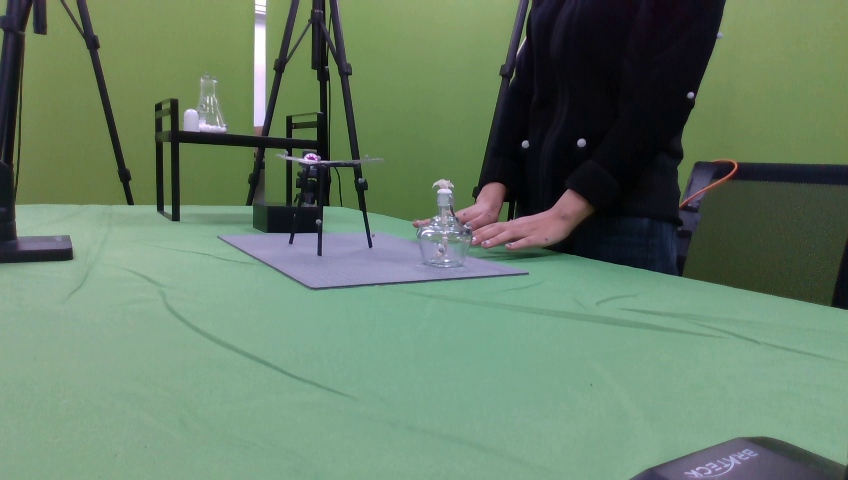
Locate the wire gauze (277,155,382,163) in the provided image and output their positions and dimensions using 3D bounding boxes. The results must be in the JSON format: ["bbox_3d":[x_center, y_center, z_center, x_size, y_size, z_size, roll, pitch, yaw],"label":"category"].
[{"bbox_3d":[-0.142,-0.118,0.899,0.122,0.011,0.124,-3,8,-36],"label":"wire gauze"}]

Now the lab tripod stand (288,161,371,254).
[{"bbox_3d":[-0.148,-0.052,0.908,0.148,0.131,0.148,1,8,0],"label":"lab tripod stand"}]

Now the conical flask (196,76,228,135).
[{"bbox_3d":[-0.465,-0.291,1.311,0.075,0.122,0.075,2,7,0],"label":"conical flask"}]

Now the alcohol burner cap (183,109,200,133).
[{"bbox_3d":[-0.472,-0.241,1.229,0.034,0.048,0.034,4,7,0],"label":"alcohol burner cap"}]

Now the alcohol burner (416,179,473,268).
[{"bbox_3d":[0.027,-0.022,0.816,0.078,0.119,0.078,0,7,0],"label":"alcohol burner"}]
